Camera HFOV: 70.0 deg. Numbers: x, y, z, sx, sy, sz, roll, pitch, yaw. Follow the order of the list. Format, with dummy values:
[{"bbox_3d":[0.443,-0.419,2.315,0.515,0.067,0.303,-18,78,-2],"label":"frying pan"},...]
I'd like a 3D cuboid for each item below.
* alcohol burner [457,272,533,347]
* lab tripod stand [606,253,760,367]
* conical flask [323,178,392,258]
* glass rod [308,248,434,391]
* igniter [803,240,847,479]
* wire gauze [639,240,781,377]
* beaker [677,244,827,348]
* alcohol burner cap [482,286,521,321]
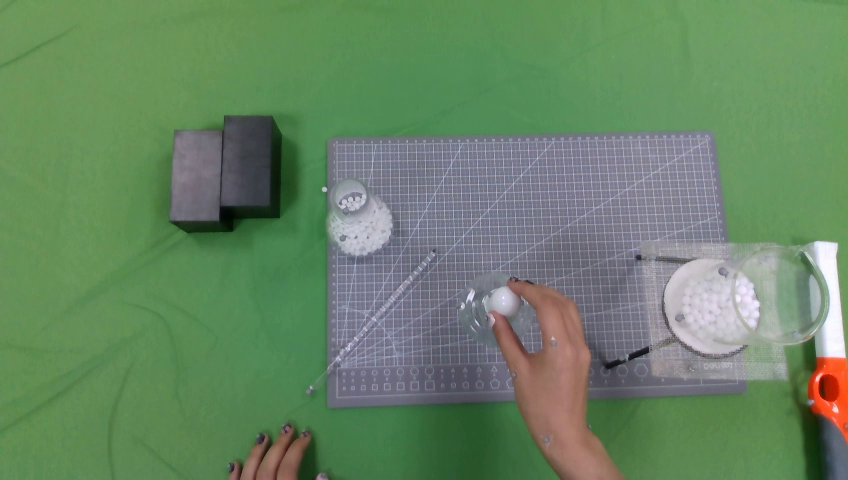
[{"bbox_3d":[0.073,0.067,0.605,0.078,0.119,0.077,0,78,0],"label":"alcohol burner"},{"bbox_3d":[0.252,0.075,0.601,0.148,0.132,0.148,0,80,-2],"label":"lab tripod stand"},{"bbox_3d":[-0.071,-0.028,0.614,0.075,0.122,0.075,0,78,-2],"label":"conical flask"},{"bbox_3d":[-0.055,0.083,0.649,0.008,0.008,0.199,41,80,6],"label":"glass rod"},{"bbox_3d":[0.437,0.136,0.653,0.057,0.025,0.275,5,78,-12],"label":"igniter"},{"bbox_3d":[0.255,0.060,0.537,0.125,0.011,0.121,1,82,-3],"label":"wire gauze"},{"bbox_3d":[0.259,0.046,0.491,0.074,0.100,0.084,34,80,4],"label":"beaker"},{"bbox_3d":[0.074,0.057,0.564,0.034,0.048,0.033,1,78,-5],"label":"alcohol burner cap"}]
